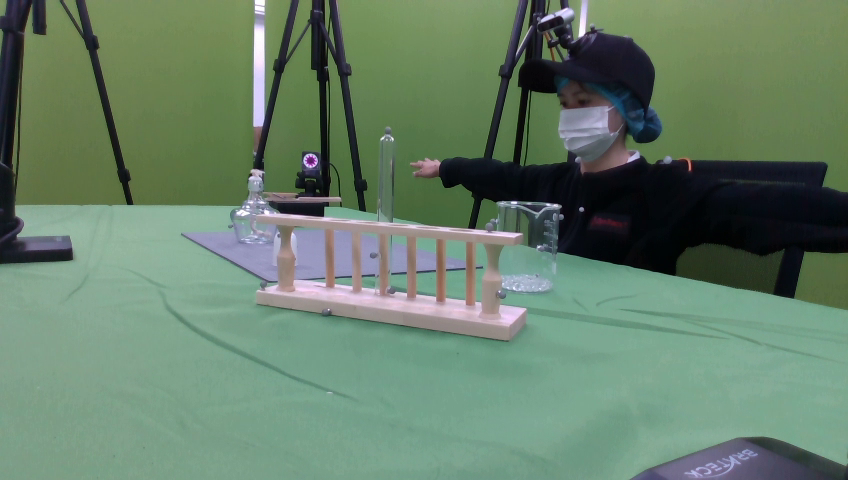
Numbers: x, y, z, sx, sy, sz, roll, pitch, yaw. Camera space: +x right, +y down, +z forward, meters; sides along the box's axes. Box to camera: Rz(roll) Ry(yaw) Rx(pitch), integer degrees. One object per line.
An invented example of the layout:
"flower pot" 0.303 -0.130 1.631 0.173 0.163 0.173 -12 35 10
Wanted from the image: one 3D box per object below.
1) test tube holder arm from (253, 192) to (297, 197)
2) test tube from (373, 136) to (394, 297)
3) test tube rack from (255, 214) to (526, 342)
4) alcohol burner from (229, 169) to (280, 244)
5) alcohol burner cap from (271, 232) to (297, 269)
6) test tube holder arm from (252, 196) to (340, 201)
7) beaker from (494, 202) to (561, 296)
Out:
"test tube holder arm" -0.301 -0.092 1.223 0.088 0.010 0.015 0 7 -25
"test tube" -0.038 -0.021 0.564 0.017 0.150 0.017 2 6 0
"test tube rack" -0.032 0.027 0.546 0.241 0.085 0.067 5 7 21
"alcohol burner" -0.268 -0.053 0.958 0.078 0.119 0.078 2 6 0
"alcohol burner cap" -0.175 0.012 0.760 0.034 0.048 0.034 2 8 0
"test tube holder arm" -0.260 -0.086 1.242 0.179 0.013 0.015 -1 7 -25
"beaker" 0.116 0.009 0.687 0.074 0.100 0.084 2 8 -4
